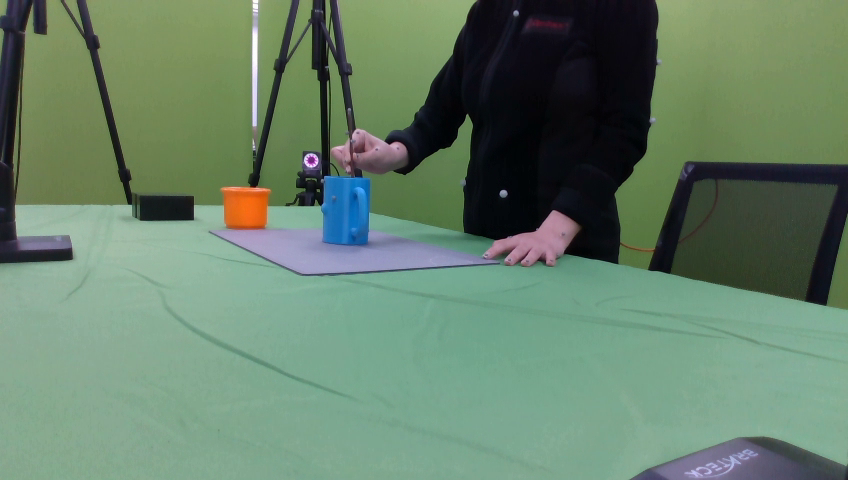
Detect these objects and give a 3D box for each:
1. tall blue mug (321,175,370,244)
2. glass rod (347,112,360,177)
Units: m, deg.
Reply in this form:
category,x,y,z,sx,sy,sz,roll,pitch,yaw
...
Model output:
category,x,y,z,sx,sy,sz,roll,pitch,yaw
tall blue mug,-0.116,-0.049,0.990,0.106,0.108,0.078,7,8,33
glass rod,-0.111,-0.114,1.006,0.008,0.199,0.008,-8,2,1
